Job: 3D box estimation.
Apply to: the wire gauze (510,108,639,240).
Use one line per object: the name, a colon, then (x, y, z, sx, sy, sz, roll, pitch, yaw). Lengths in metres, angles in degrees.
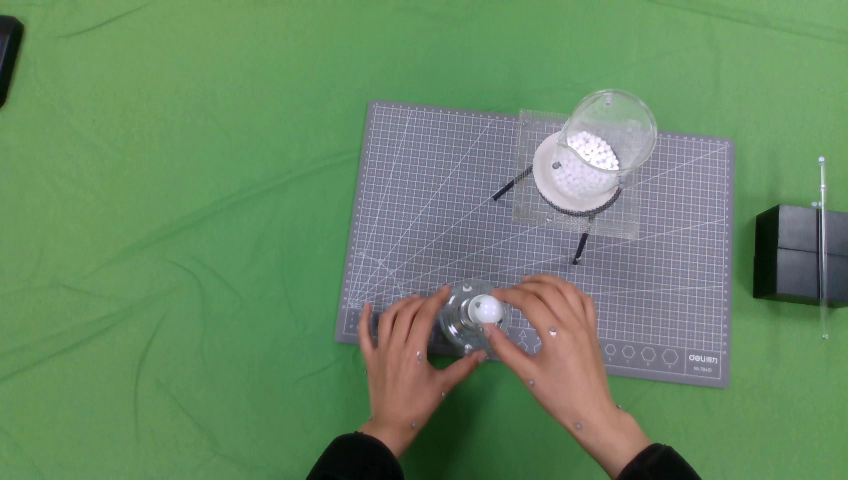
wire gauze: (0.148, -0.067, 0.594, 0.125, 0.011, 0.121, 8, 80, -2)

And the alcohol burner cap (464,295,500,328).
alcohol burner cap: (0.057, 0.068, 0.578, 0.034, 0.048, 0.034, 0, 82, -2)

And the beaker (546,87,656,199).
beaker: (0.151, -0.081, 0.548, 0.084, 0.100, 0.073, -9, 78, -2)

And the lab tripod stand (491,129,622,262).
lab tripod stand: (0.152, -0.058, 0.659, 0.148, 0.132, 0.147, 0, 77, 0)

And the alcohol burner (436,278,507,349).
alcohol burner: (0.052, 0.077, 0.642, 0.078, 0.119, 0.077, 0, 80, -1)

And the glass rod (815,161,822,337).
glass rod: (0.435, 0.008, 0.668, 0.008, 0.008, 0.199, 7, 79, 1)
